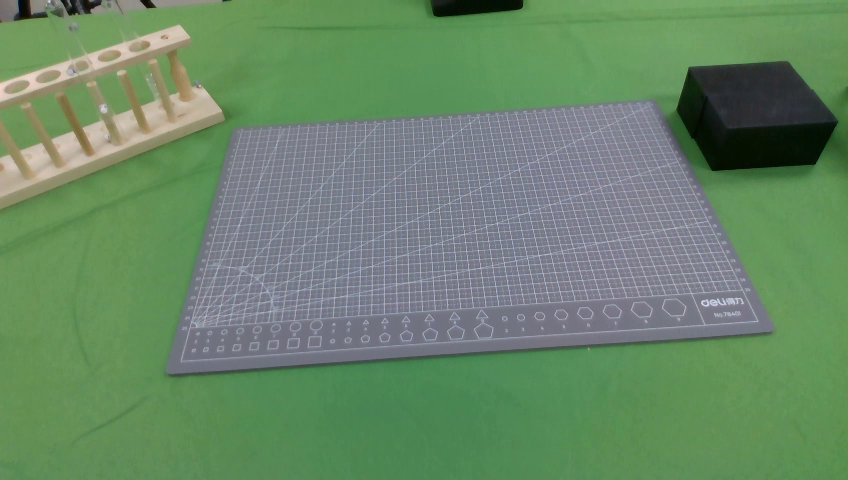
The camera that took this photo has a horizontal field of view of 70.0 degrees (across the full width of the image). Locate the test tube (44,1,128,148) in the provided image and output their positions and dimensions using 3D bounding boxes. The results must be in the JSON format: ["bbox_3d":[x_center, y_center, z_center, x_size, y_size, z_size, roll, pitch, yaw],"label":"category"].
[{"bbox_3d":[-0.314,-0.149,0.567,0.017,0.152,0.017,-1,47,1],"label":"test tube"}]

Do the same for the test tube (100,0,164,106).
[{"bbox_3d":[-0.290,-0.195,0.601,0.017,0.152,0.017,-3,50,4],"label":"test tube"}]

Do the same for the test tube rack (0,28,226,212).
[{"bbox_3d":[-0.335,-0.122,0.604,0.242,0.086,0.066,-28,51,-21],"label":"test tube rack"}]
